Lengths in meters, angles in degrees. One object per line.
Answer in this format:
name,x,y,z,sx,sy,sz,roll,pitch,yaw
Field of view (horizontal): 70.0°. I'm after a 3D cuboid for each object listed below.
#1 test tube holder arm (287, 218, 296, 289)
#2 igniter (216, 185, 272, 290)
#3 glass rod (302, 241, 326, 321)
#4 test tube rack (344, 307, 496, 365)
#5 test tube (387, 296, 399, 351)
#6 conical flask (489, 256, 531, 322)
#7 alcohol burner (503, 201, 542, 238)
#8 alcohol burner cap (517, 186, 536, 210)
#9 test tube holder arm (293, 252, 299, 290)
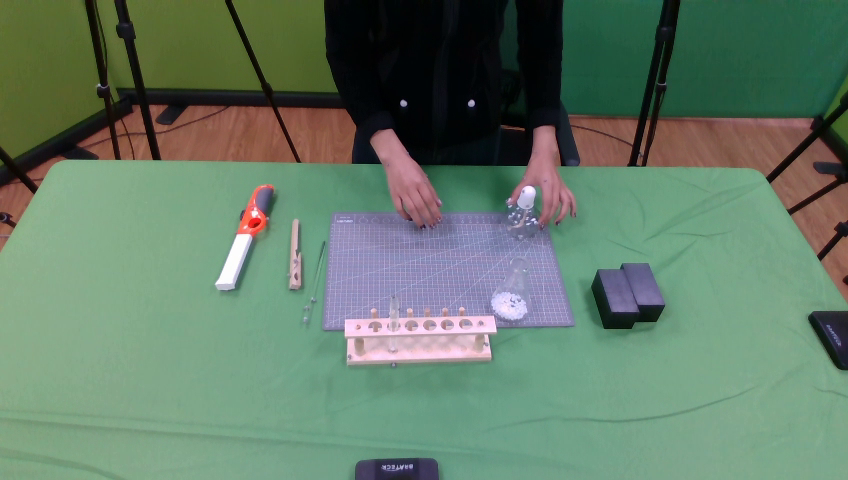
test tube holder arm,-0.254,0.022,1.158,0.013,0.015,0.177,23,36,-34
igniter,-0.347,-0.014,1.182,0.057,0.025,0.275,-1,45,8
glass rod,-0.203,0.071,1.124,0.008,0.008,0.198,4,43,1
test tube rack,-0.009,0.154,1.007,0.242,0.085,0.066,-1,46,-5
test tube,-0.049,0.134,0.953,0.017,0.151,0.017,2,51,-3
conical flask,0.158,0.081,1.061,0.075,0.122,0.075,2,46,-2
alcohol burner,0.200,-0.061,1.208,0.078,0.119,0.077,3,47,-3
alcohol burner cap,0.202,-0.085,1.180,0.034,0.048,0.033,2,54,-2
test tube holder arm,-0.241,0.056,1.131,0.010,0.015,0.087,24,35,-33
